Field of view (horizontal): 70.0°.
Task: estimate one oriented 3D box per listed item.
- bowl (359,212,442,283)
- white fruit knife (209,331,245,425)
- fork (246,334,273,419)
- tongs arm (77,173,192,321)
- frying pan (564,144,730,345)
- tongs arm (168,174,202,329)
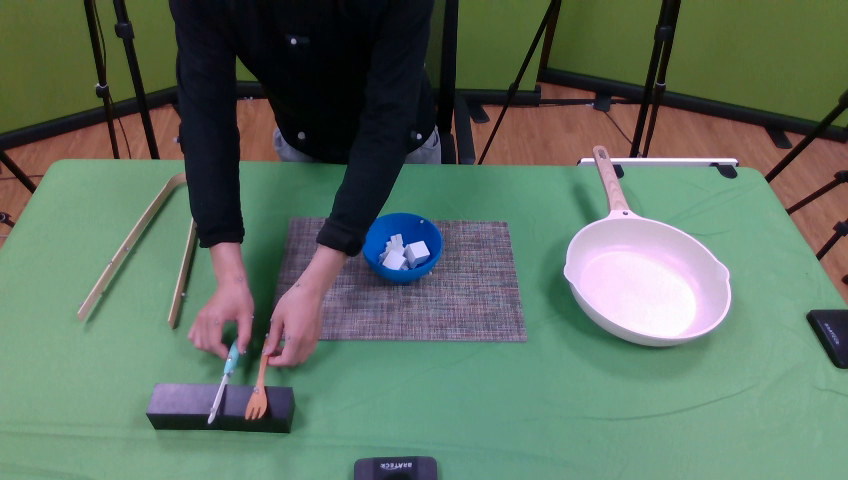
[{"bbox_3d":[-0.044,0.026,1.124,0.151,0.077,0.150,2,46,-2],"label":"bowl"},{"bbox_3d":[-0.301,0.204,0.928,0.016,0.027,0.206,2,29,-5],"label":"white fruit knife"},{"bbox_3d":[-0.247,0.204,0.928,0.028,0.019,0.206,-10,29,-3],"label":"fork"},{"bbox_3d":[-0.535,-0.001,1.148,0.051,0.026,0.382,7,45,1],"label":"tongs arm"},{"bbox_3d":[0.396,-0.008,1.179,0.307,0.103,0.484,0,55,-5],"label":"frying pan"},{"bbox_3d":[-0.455,0.006,1.154,0.028,0.028,0.385,-5,47,-6],"label":"tongs arm"}]
